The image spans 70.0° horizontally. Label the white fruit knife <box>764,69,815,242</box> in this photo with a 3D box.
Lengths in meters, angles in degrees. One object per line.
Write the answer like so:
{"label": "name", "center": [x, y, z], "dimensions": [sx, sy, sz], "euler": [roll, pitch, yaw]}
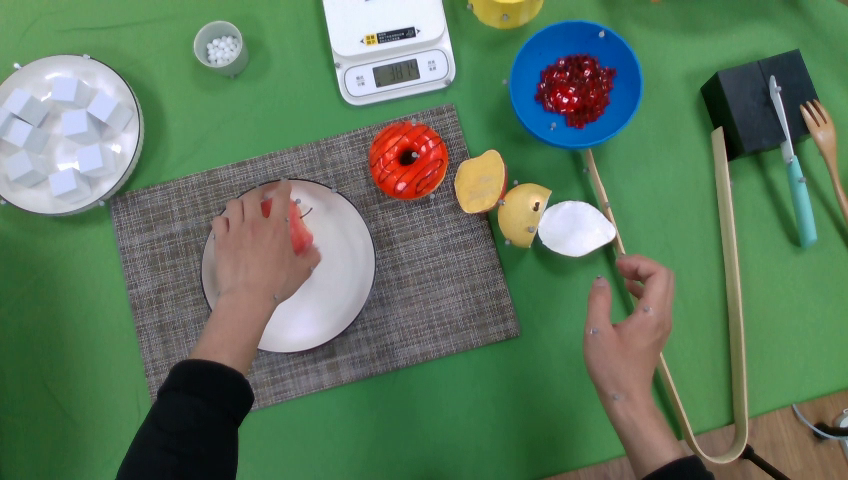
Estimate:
{"label": "white fruit knife", "center": [0.420, -0.096, 0.699], "dimensions": [0.016, 0.027, 0.208], "euler": [-18, 97, 0]}

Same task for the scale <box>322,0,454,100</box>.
{"label": "scale", "center": [-0.050, -0.285, 0.765], "dimensions": [0.148, 0.031, 0.200], "euler": [-11, 83, 2]}

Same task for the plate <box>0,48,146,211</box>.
{"label": "plate", "center": [-0.447, -0.136, 0.760], "dimensions": [0.207, 0.039, 0.207], "euler": [0, 83, 2]}

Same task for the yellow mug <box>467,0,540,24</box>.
{"label": "yellow mug", "center": [0.088, -0.339, 0.748], "dimensions": [0.130, 0.064, 0.100], "euler": [42, 87, 7]}

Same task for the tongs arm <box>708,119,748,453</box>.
{"label": "tongs arm", "center": [0.352, 0.049, 0.712], "dimensions": [0.028, 0.028, 0.386], "euler": [0, 83, -6]}

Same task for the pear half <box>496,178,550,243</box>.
{"label": "pear half", "center": [0.110, -0.039, 0.690], "dimensions": [0.056, 0.110, 0.076], "euler": [17, 79, 6]}

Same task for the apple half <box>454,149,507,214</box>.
{"label": "apple half", "center": [0.076, -0.069, 0.729], "dimensions": [0.080, 0.033, 0.081], "euler": [9, 104, 44]}

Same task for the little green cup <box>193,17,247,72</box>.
{"label": "little green cup", "center": [-0.255, -0.245, 0.765], "dimensions": [0.061, 0.039, 0.061], "euler": [0, 83, 3]}

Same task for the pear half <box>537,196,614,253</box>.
{"label": "pear half", "center": [0.181, -0.015, 0.722], "dimensions": [0.087, 0.031, 0.070], "euler": [10, 81, 18]}

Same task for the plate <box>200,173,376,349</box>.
{"label": "plate", "center": [-0.159, 0.025, 0.725], "dimensions": [0.209, 0.038, 0.208], "euler": [0, 83, 2]}

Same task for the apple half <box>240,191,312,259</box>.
{"label": "apple half", "center": [-0.179, -0.018, 0.715], "dimensions": [0.074, 0.053, 0.080], "euler": [-22, 88, 4]}

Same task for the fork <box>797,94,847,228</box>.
{"label": "fork", "center": [0.478, -0.072, 0.701], "dimensions": [0.028, 0.018, 0.208], "euler": [-25, 98, -3]}

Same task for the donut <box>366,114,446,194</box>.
{"label": "donut", "center": [-0.022, -0.104, 0.732], "dimensions": [0.099, 0.048, 0.099], "euler": [0, 84, 5]}

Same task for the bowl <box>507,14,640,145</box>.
{"label": "bowl", "center": [0.170, -0.178, 0.720], "dimensions": [0.151, 0.077, 0.151], "euler": [0, 84, 2]}

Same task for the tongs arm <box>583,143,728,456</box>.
{"label": "tongs arm", "center": [0.267, 0.064, 0.709], "dimensions": [0.051, 0.026, 0.383], "euler": [-15, 84, -4]}
